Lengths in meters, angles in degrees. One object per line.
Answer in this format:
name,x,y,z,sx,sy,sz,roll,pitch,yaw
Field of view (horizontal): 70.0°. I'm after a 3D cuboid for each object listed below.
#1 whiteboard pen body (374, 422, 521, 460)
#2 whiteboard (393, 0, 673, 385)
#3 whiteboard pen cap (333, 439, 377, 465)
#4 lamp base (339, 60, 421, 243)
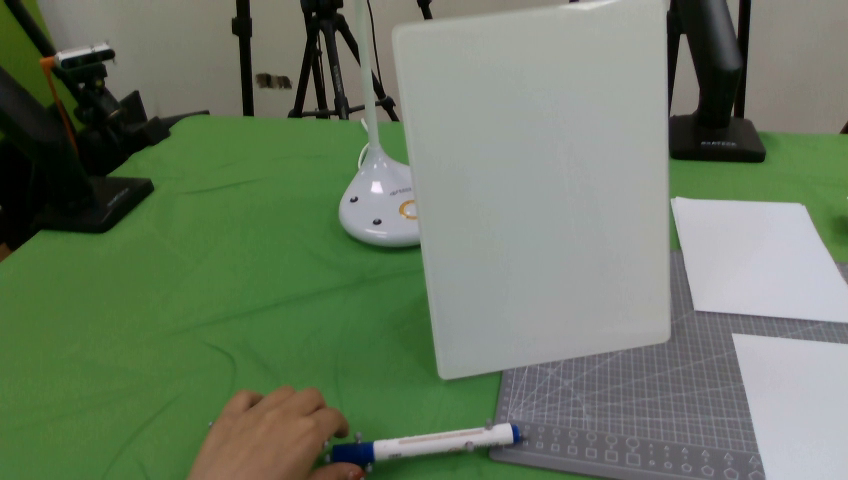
whiteboard pen body,0.006,0.159,0.473,0.141,0.017,0.017,-6,35,-4
whiteboard,0.095,-0.052,0.564,0.217,0.307,0.143,-9,17,-4
whiteboard pen cap,-0.053,0.164,0.469,0.033,0.018,0.018,-4,35,-6
lamp base,-0.040,-0.113,0.724,0.161,0.182,0.177,-25,38,-26
